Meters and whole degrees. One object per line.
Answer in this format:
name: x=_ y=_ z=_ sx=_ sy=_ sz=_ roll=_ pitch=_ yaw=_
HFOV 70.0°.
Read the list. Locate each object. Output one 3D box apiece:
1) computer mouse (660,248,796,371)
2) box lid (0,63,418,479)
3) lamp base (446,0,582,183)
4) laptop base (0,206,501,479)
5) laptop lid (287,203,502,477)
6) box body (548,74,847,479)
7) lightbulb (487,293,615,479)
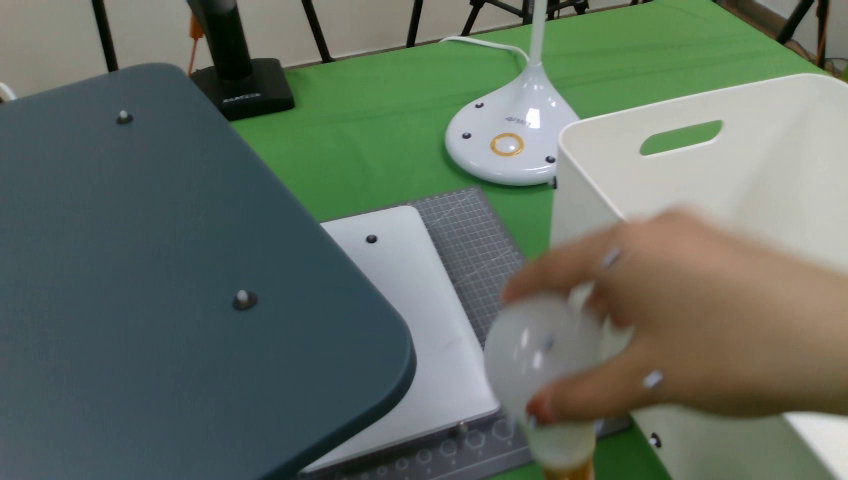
computer mouse: x=0.247 y=0.052 z=0.497 sx=0.063 sy=0.041 sz=0.116 roll=-13 pitch=51 yaw=-14
box lid: x=-0.202 y=0.009 z=0.311 sx=0.263 sy=0.015 sz=0.367 roll=-26 pitch=47 yaw=-23
lamp base: x=0.106 y=-0.182 z=0.643 sx=0.160 sy=0.182 sz=0.178 roll=10 pitch=44 yaw=12
laptop base: x=-0.141 y=0.090 z=0.492 sx=0.355 sy=0.023 sz=0.233 roll=-14 pitch=50 yaw=-12
laptop lid: x=-0.141 y=0.083 z=0.482 sx=0.357 sy=0.013 sz=0.239 roll=-12 pitch=48 yaw=-11
box body: x=0.267 y=0.061 z=0.409 sx=0.254 sy=0.162 sz=0.359 roll=-14 pitch=46 yaw=-12
lightbulb: x=0.066 y=0.077 z=0.296 sx=0.059 sy=0.108 sz=0.059 roll=-14 pitch=21 yaw=6
